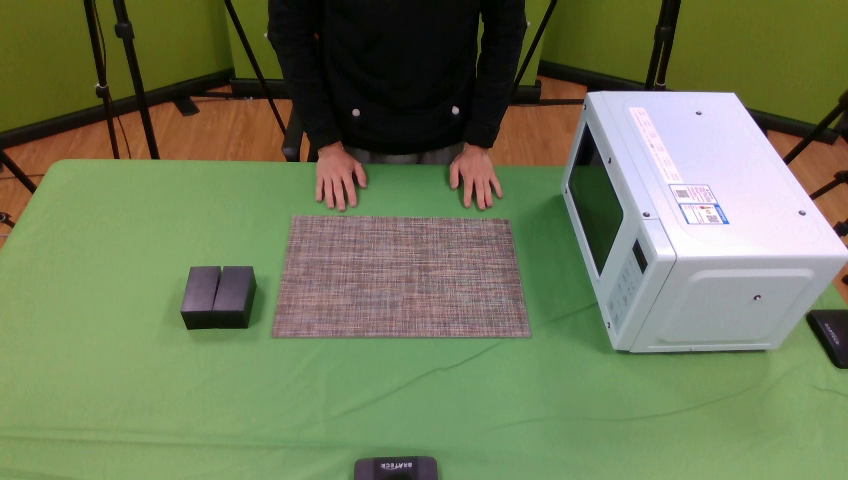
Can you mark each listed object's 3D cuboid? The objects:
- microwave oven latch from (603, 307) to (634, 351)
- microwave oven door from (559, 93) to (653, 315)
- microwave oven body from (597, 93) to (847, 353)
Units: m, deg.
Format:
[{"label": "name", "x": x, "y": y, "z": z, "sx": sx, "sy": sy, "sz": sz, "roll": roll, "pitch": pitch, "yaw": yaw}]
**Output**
[{"label": "microwave oven latch", "x": 0.332, "y": 0.153, "z": 1.043, "sx": 0.030, "sy": 0.029, "sz": 0.078, "roll": 0, "pitch": 45, "yaw": -4}, {"label": "microwave oven door", "x": 0.327, "y": -0.074, "z": 1.123, "sx": 0.039, "sy": 0.245, "sz": 0.353, "roll": -1, "pitch": 46, "yaw": -5}, {"label": "microwave oven body", "x": 0.475, "y": -0.041, "z": 1.109, "sx": 0.326, "sy": 0.261, "sz": 0.438, "roll": -1, "pitch": 45, "yaw": -4}]
